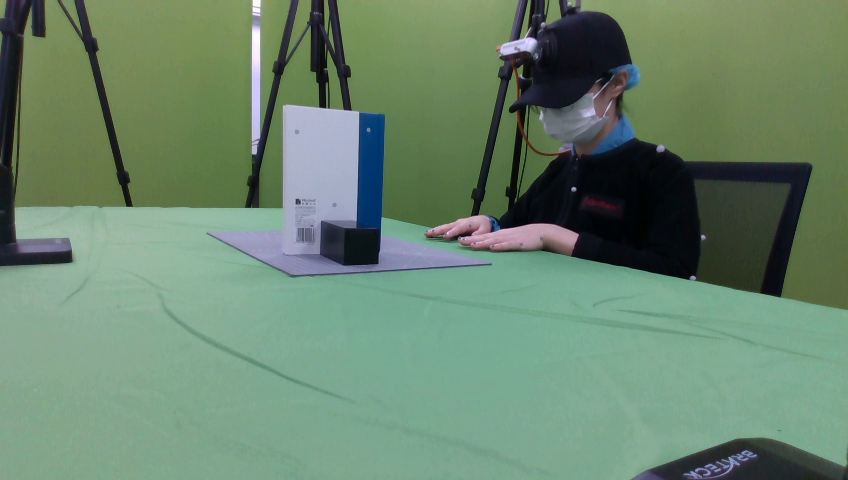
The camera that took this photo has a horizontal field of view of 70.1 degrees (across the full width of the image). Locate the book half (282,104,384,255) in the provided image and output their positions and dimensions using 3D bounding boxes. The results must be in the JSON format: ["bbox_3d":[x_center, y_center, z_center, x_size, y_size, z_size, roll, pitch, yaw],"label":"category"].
[{"bbox_3d":[-0.132,-0.084,0.881,0.149,0.210,0.016,-1,8,-27],"label":"book half"}]

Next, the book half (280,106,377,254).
[{"bbox_3d":[-0.137,-0.084,0.886,0.144,0.210,0.007,-1,8,-26],"label":"book half"}]
